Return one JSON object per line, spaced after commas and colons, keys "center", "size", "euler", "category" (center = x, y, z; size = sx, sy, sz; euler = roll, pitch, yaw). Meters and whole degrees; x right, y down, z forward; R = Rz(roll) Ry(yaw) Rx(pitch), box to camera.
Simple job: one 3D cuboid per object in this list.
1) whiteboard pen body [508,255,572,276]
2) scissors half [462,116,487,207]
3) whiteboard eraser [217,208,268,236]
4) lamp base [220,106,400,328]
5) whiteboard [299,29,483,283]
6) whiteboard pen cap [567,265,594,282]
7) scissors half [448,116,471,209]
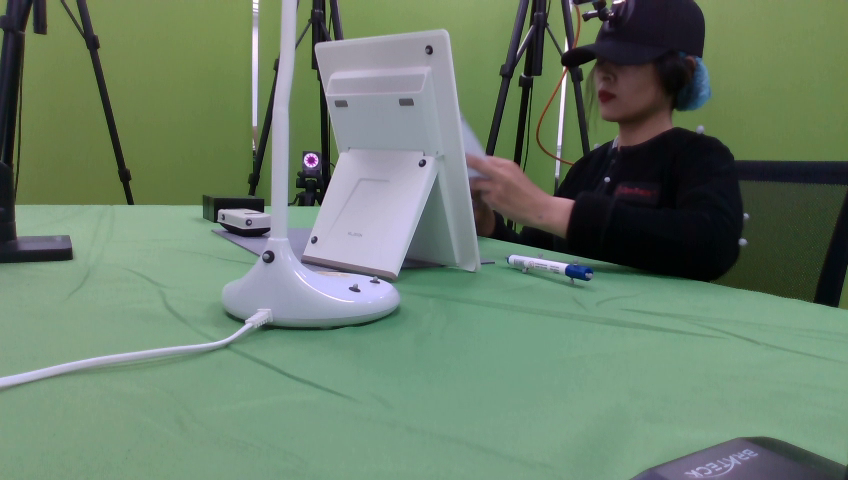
{"center": [0.155, 0.033, 0.772], "size": [0.017, 0.017, 0.140], "euler": [-2, 6, -31], "category": "whiteboard pen body"}
{"center": [0.088, -0.143, 1.119], "size": [0.040, 0.175, 0.012], "euler": [-14, 24, -3], "category": "scissors half"}
{"center": [-0.309, -0.031, 1.044], "size": [0.056, 0.042, 0.112], "euler": [-2, 9, -40], "category": "whiteboard eraser"}
{"center": [-0.101, -0.023, 0.531], "size": [0.160, 0.180, 0.179], "euler": [4, 10, 10], "category": "lamp base"}
{"center": [-0.074, -0.082, 0.742], "size": [0.216, 0.305, 0.144], "euler": [9, 29, 38], "category": "whiteboard"}
{"center": [0.186, 0.040, 0.722], "size": [0.018, 0.018, 0.033], "euler": [-3, 6, -33], "category": "whiteboard pen cap"}
{"center": [0.069, -0.140, 1.116], "size": [0.040, 0.175, 0.013], "euler": [-1, 21, -14], "category": "scissors half"}
